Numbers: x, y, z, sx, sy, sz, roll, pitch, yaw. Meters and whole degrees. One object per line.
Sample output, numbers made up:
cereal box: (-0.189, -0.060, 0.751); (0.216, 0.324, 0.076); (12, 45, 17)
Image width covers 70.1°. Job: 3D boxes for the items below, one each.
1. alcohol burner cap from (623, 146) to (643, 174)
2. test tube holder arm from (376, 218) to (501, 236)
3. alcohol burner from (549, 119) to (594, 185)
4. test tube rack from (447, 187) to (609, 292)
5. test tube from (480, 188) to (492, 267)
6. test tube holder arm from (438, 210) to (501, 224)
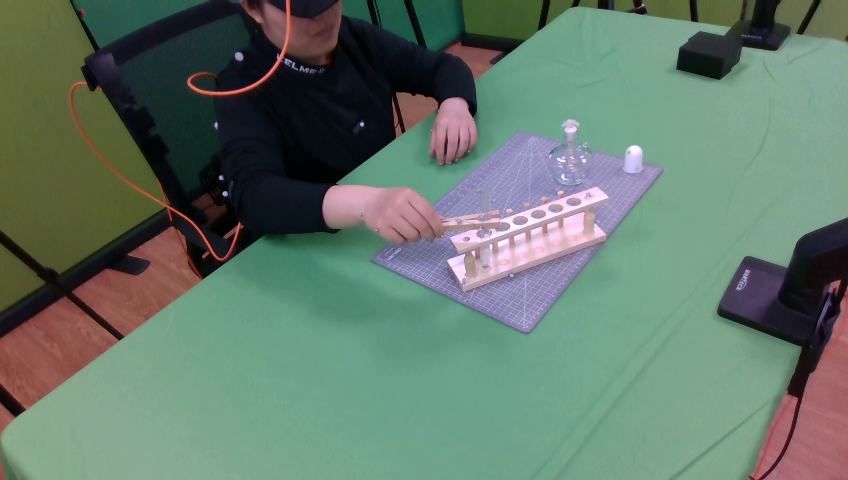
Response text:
alcohol burner cap: (0.369, -0.143, 1.061); (0.034, 0.048, 0.033); (-7, 41, 6)
test tube holder arm: (0.019, -0.018, 0.847); (0.178, 0.015, 0.013); (-5, 43, 12)
alcohol burner: (0.254, -0.155, 1.043); (0.078, 0.120, 0.077); (-7, 40, 7)
test tube rack: (0.155, -0.011, 0.913); (0.243, 0.085, 0.066); (-19, 41, -11)
test tube: (0.087, -0.014, 0.850); (0.017, 0.151, 0.017); (-2, 47, 3)
test tube holder arm: (0.063, -0.027, 0.843); (0.088, 0.015, 0.010); (-10, 43, 6)
